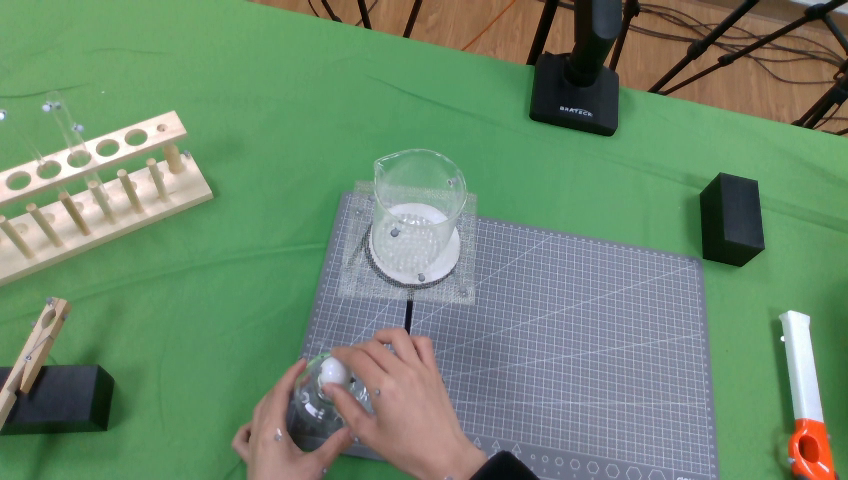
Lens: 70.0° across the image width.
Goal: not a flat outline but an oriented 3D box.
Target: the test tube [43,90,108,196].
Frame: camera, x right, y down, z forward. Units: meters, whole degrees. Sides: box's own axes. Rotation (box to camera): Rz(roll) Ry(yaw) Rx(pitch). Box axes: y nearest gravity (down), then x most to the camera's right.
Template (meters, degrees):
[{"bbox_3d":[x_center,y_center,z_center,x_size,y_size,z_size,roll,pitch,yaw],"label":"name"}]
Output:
[{"bbox_3d":[-0.346,-0.091,0.609,0.017,0.151,0.017,5,57,-7],"label":"test tube"}]

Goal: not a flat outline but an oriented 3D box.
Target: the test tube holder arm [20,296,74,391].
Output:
[{"bbox_3d":[-0.346,0.093,0.552,0.010,0.015,0.087,14,60,-1],"label":"test tube holder arm"}]

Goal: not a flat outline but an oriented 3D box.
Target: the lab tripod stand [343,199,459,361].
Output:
[{"bbox_3d":[-0.018,0.034,0.616,0.149,0.132,0.147,4,63,-8],"label":"lab tripod stand"}]

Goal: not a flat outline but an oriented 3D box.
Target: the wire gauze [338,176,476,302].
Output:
[{"bbox_3d":[-0.012,-0.001,0.561,0.121,0.011,0.124,5,65,-4],"label":"wire gauze"}]

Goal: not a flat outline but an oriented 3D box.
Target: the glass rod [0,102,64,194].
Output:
[{"bbox_3d":[-0.380,-0.088,0.583,0.008,0.201,0.008,1,55,-2],"label":"glass rod"}]

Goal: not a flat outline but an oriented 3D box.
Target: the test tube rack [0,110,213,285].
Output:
[{"bbox_3d":[-0.359,-0.045,0.639,0.242,0.086,0.066,-27,69,-20],"label":"test tube rack"}]

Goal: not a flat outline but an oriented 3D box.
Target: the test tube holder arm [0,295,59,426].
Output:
[{"bbox_3d":[-0.360,0.130,0.529,0.013,0.015,0.177,13,60,-1],"label":"test tube holder arm"}]

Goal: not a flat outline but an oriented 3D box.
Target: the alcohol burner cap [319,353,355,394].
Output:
[{"bbox_3d":[-0.078,0.117,0.533,0.034,0.048,0.033,2,68,-4],"label":"alcohol burner cap"}]

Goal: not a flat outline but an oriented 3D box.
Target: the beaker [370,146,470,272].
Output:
[{"bbox_3d":[-0.011,-0.023,0.516,0.083,0.101,0.074,34,63,10],"label":"beaker"}]

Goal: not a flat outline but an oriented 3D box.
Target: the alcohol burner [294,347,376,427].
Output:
[{"bbox_3d":[-0.082,0.132,0.565,0.078,0.120,0.077,5,60,-8],"label":"alcohol burner"}]

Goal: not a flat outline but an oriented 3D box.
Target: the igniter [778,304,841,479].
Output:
[{"bbox_3d":[0.414,0.199,0.653,0.057,0.025,0.274,17,61,-11],"label":"igniter"}]
